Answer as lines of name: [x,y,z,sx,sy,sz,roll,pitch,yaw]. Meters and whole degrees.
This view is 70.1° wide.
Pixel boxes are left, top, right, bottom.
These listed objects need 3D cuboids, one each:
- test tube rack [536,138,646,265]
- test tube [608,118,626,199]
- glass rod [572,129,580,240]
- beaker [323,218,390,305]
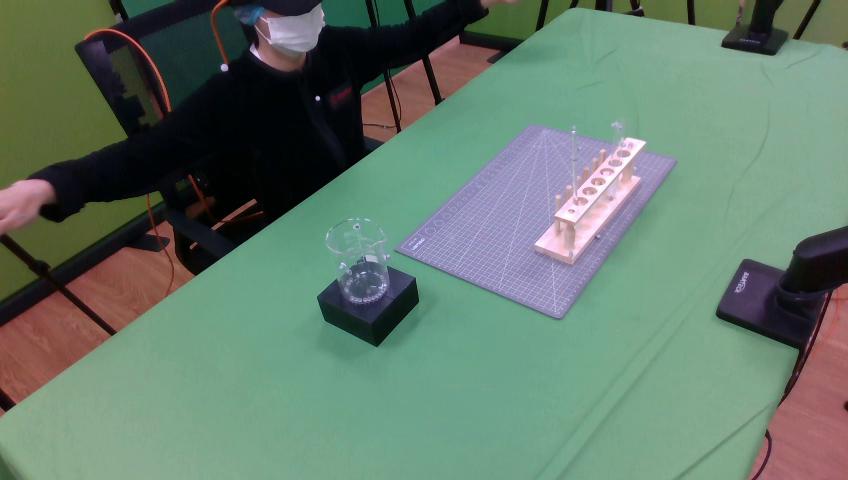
test tube rack: [0.268,-0.071,0.964,0.066,0.085,0.243,23,49,32]
test tube: [0.301,-0.124,0.945,0.017,0.151,0.017,-5,44,6]
glass rod: [0.220,-0.074,0.871,0.008,0.201,0.008,-8,42,8]
beaker: [-0.084,0.031,0.813,0.084,0.101,0.073,-1,41,8]
